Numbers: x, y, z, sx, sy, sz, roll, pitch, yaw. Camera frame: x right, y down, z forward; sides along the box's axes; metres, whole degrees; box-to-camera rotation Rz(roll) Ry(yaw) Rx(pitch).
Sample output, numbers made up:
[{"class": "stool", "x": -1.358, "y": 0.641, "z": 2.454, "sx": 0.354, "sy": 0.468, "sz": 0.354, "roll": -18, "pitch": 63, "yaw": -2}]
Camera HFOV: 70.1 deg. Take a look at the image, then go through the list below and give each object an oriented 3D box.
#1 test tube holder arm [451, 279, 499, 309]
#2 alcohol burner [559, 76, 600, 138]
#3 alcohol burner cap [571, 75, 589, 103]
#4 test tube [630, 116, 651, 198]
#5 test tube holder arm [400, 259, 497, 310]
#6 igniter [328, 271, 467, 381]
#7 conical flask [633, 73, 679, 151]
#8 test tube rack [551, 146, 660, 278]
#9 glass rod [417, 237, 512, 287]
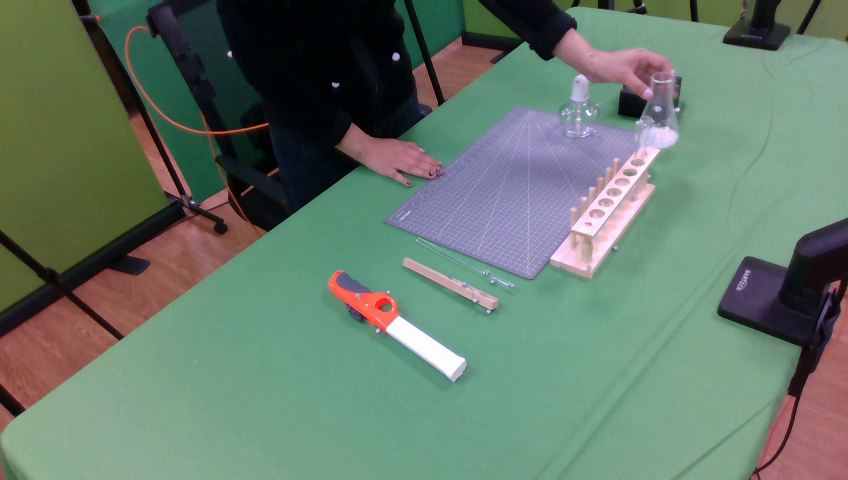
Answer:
[{"class": "test tube holder arm", "x": 0.071, "y": 0.079, "z": 0.882, "sx": 0.087, "sy": 0.015, "sz": 0.010, "roll": 23, "pitch": 13, "yaw": 34}, {"class": "alcohol burner", "x": 0.298, "y": -0.258, "z": 1.156, "sx": 0.078, "sy": 0.119, "sz": 0.077, "roll": -4, "pitch": 39, "yaw": 4}, {"class": "alcohol burner cap", "x": 0.294, "y": -0.284, "z": 1.132, "sx": 0.034, "sy": 0.048, "sz": 0.033, "roll": -5, "pitch": 46, "yaw": 5}, {"class": "test tube", "x": 0.336, "y": -0.125, "z": 0.941, "sx": 0.017, "sy": 0.151, "sz": 0.017, "roll": -5, "pitch": 43, "yaw": 5}, {"class": "test tube holder arm", "x": 0.033, "y": 0.064, "z": 0.902, "sx": 0.177, "sy": 0.015, "sz": 0.013, "roll": 23, "pitch": 13, "yaw": 32}, {"class": "igniter", "x": -0.049, "y": 0.114, "z": 0.854, "sx": 0.274, "sy": 0.025, "sz": 0.057, "roll": 29, "pitch": 63, "yaw": 37}, {"class": "conical flask", "x": 0.388, "y": -0.214, "z": 1.001, "sx": 0.075, "sy": 0.122, "sz": 0.075, "roll": -7, "pitch": 42, "yaw": 7}, {"class": "test tube rack", "x": 0.286, "y": -0.053, "z": 0.943, "sx": 0.066, "sy": 0.085, "sz": 0.243, "roll": 21, "pitch": 49, "yaw": 32}, {"class": "glass rod", "x": 0.059, "y": 0.032, "z": 0.945, "sx": 0.198, "sy": 0.008, "sz": 0.008, "roll": 27, "pitch": 52, "yaw": 38}]
